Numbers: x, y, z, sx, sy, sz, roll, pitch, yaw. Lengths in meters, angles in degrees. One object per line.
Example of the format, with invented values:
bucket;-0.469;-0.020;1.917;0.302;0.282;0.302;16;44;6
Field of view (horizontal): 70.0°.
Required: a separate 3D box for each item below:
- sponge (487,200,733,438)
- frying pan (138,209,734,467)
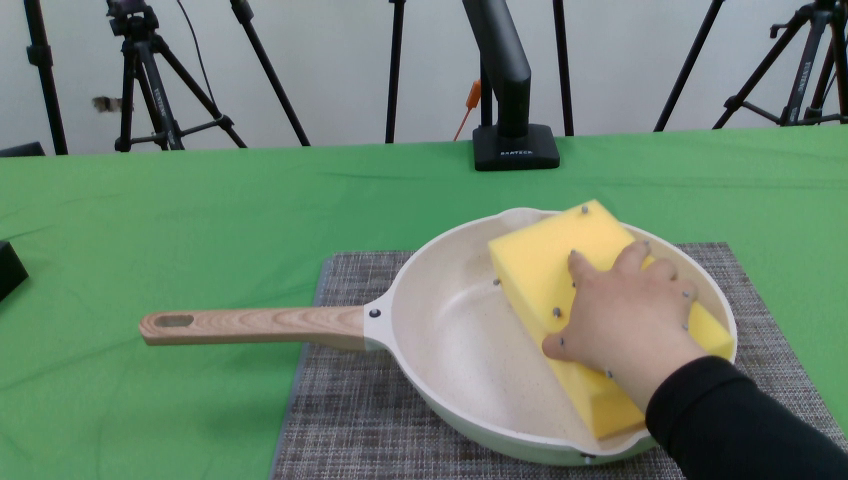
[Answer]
sponge;0.152;0.057;0.535;0.118;0.061;0.204;-23;38;-5
frying pan;0.008;0.076;0.530;0.489;0.103;0.303;2;34;-6
